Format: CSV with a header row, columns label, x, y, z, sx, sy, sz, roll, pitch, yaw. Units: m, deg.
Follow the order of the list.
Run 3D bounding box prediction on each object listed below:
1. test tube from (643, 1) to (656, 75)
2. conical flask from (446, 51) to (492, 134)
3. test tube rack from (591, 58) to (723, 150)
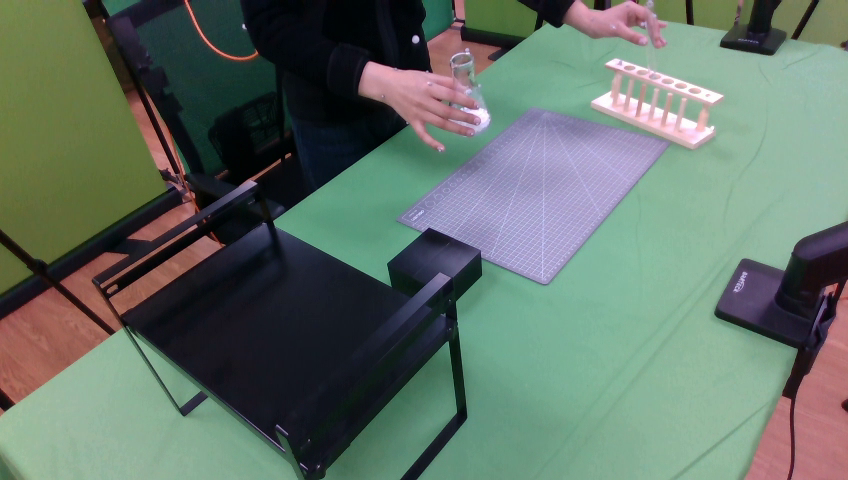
label,x,y,z,sx,sy,sz,roll,pitch,yaw
test tube,0.407,-0.361,1.090,0.017,0.151,0.017,-12,48,14
conical flask,0.065,-0.231,0.945,0.075,0.122,0.075,-6,48,7
test tube rack,0.442,-0.268,1.171,0.067,0.085,0.240,-31,46,-23
